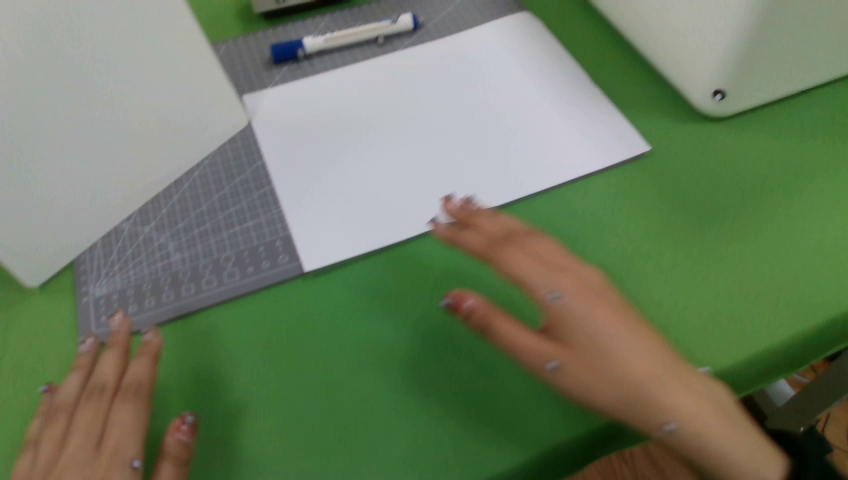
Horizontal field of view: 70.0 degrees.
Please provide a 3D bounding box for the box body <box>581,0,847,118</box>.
[{"bbox_3d":[0.281,-0.303,0.570,0.254,0.162,0.360,-20,56,-11],"label":"box body"}]

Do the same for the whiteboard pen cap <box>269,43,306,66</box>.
[{"bbox_3d":[-0.130,-0.178,0.582,0.033,0.018,0.018,-15,55,-12],"label":"whiteboard pen cap"}]

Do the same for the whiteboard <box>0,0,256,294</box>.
[{"bbox_3d":[-0.308,-0.157,0.433,0.142,0.309,0.217,21,56,40],"label":"whiteboard"}]

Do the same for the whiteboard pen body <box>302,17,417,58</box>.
[{"bbox_3d":[-0.074,-0.195,0.592,0.141,0.017,0.017,-17,55,-9],"label":"whiteboard pen body"}]

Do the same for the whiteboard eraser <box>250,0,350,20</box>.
[{"bbox_3d":[-0.126,-0.262,0.630,0.113,0.042,0.055,-18,53,-9],"label":"whiteboard eraser"}]
